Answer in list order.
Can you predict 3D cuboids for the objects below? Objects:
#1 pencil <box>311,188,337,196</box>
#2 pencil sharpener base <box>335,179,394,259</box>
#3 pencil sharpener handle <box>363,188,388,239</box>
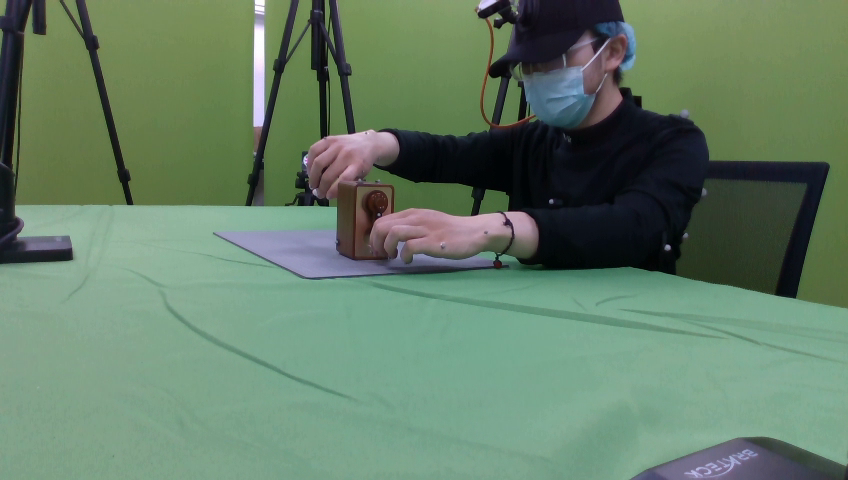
[{"bbox_3d":[-0.143,-0.074,0.962,0.012,0.012,0.193,-2,8,-30],"label":"pencil"},{"bbox_3d":[-0.084,-0.030,0.853,0.061,0.107,0.076,-1,8,-28],"label":"pencil sharpener base"},{"bbox_3d":[-0.059,-0.035,0.807,0.036,0.067,0.030,-3,9,-27],"label":"pencil sharpener handle"}]
